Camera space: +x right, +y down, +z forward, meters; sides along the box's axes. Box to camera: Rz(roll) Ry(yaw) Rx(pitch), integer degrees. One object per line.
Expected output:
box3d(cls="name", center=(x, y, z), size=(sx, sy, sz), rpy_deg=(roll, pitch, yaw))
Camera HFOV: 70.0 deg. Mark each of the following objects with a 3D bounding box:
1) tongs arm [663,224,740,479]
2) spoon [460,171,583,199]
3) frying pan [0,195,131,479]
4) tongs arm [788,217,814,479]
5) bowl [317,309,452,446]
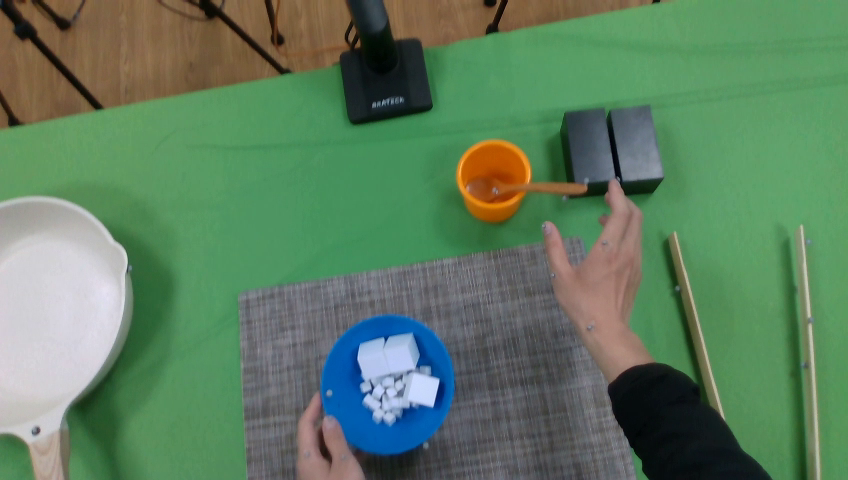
box3d(cls="tongs arm", center=(0.338, 0.164, 0.707), size=(0.028, 0.028, 0.385), rpy_deg=(-10, 74, 0))
box3d(cls="spoon", center=(0.111, -0.067, 0.728), size=(0.022, 0.192, 0.041), rpy_deg=(37, 73, -30))
box3d(cls="frying pan", center=(-0.466, 0.173, 0.726), size=(0.307, 0.103, 0.483), rpy_deg=(-25, 65, -2))
box3d(cls="tongs arm", center=(0.418, 0.159, 0.697), size=(0.050, 0.027, 0.382), rpy_deg=(2, 75, 7))
box3d(cls="bowl", center=(-0.041, 0.161, 0.705), size=(0.151, 0.077, 0.150), rpy_deg=(-1, 74, 4))
